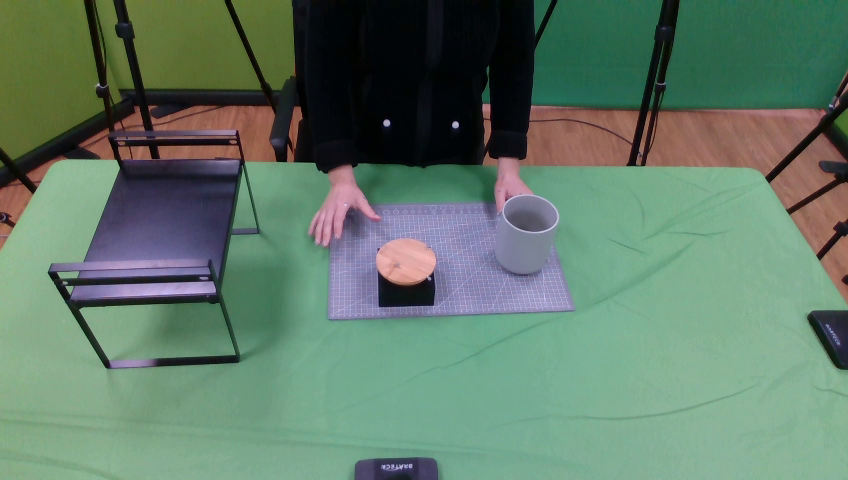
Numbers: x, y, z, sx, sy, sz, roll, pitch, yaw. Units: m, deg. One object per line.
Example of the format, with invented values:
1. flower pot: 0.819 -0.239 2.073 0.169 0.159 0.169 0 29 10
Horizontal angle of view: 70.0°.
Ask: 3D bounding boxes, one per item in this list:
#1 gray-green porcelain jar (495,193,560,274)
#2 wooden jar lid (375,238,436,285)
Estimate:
1. gray-green porcelain jar: 0.191 -0.007 1.140 0.106 0.127 0.105 2 46 -2
2. wooden jar lid: -0.033 0.040 1.083 0.108 0.021 0.107 3 46 -3
